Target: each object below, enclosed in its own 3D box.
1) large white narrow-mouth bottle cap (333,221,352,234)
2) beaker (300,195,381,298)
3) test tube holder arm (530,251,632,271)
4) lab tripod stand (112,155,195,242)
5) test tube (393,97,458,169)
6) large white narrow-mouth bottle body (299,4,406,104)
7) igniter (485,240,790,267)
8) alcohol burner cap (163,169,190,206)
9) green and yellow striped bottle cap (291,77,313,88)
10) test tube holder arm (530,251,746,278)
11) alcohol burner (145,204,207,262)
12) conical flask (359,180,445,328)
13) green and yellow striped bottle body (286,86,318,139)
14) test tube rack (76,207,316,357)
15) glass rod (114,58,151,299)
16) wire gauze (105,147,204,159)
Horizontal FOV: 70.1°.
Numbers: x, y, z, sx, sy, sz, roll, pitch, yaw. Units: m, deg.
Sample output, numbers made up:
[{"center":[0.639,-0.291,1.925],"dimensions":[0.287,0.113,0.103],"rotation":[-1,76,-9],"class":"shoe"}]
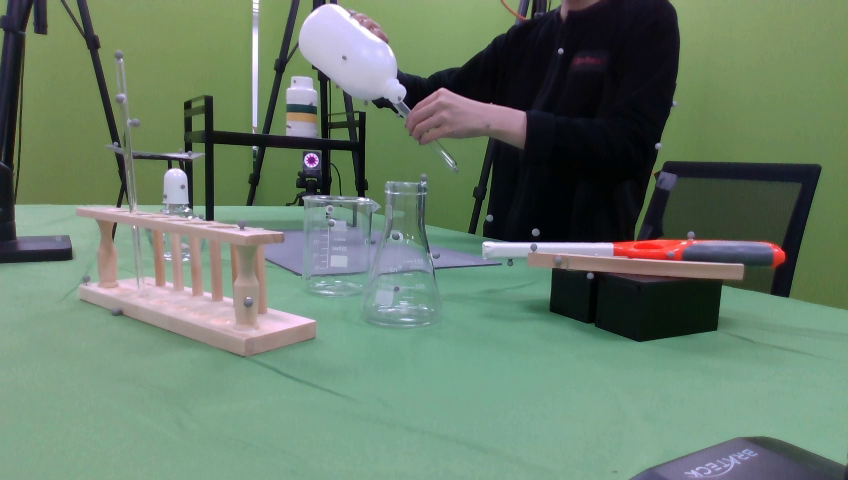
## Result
[{"center":[-0.153,-0.024,1.134],"dimensions":[0.038,0.024,0.037],"rotation":[4,7,0],"class":"large white narrow-mouth bottle cap"},{"center":[-0.087,0.006,0.626],"dimensions":[0.084,0.100,0.074],"rotation":[1,8,-17],"class":"beaker"},{"center":[0.139,0.019,0.538],"dimensions":[0.087,0.015,0.010],"rotation":[3,6,13],"class":"test tube holder arm"},{"center":[-0.405,-0.064,0.931],"dimensions":[0.148,0.131,0.148],"rotation":[1,7,0],"class":"lab tripod stand"},{"center":[0.003,-0.165,0.932],"dimensions":[0.150,0.017,0.017],"rotation":[50,26,16],"class":"test tube"},{"center":[-0.105,-0.288,0.978],"dimensions":[0.194,0.101,0.102],"rotation":[42,22,16],"class":"large white narrow-mouth bottle body"},{"center":[0.197,0.012,0.585],"dimensions":[0.276,0.025,0.057],"rotation":[1,5,12],"class":"igniter"},{"center":[-0.321,-0.068,0.782],"dimensions":[0.034,0.048,0.034],"rotation":[1,7,0],"class":"alcohol burner cap"},{"center":[-0.250,-0.321,1.238],"dimensions":[0.045,0.020,0.045],"rotation":[3,6,0],"class":"green and yellow striped bottle cap"},{"center":[0.182,0.022,0.523],"dimensions":[0.178,0.015,0.013],"rotation":[3,6,12],"class":"test tube holder arm"},{"center":[-0.322,-0.032,0.788],"dimensions":[0.078,0.119,0.078],"rotation":[0,7,0],"class":"alcohol burner"},{"center":[-0.017,0.010,0.522],"dimensions":[0.075,0.122,0.075],"rotation":[2,7,0],"class":"conical flask"},{"center":[-0.251,-0.270,1.245],"dimensions":[0.063,0.119,0.063],"rotation":[2,7,0],"class":"green and yellow striped bottle body"},{"center":[-0.196,0.023,0.500],"dimensions":[0.241,0.085,0.067],"rotation":[8,9,36],"class":"test tube rack"},{"center":[-0.236,-0.044,0.492],"dimensions":[0.008,0.199,0.008],"rotation":[0,15,0],"class":"glass rod"},{"center":[-0.407,-0.131,0.929],"dimensions":[0.125,0.011,0.121],"rotation":[2,6,-11],"class":"wire gauze"}]
